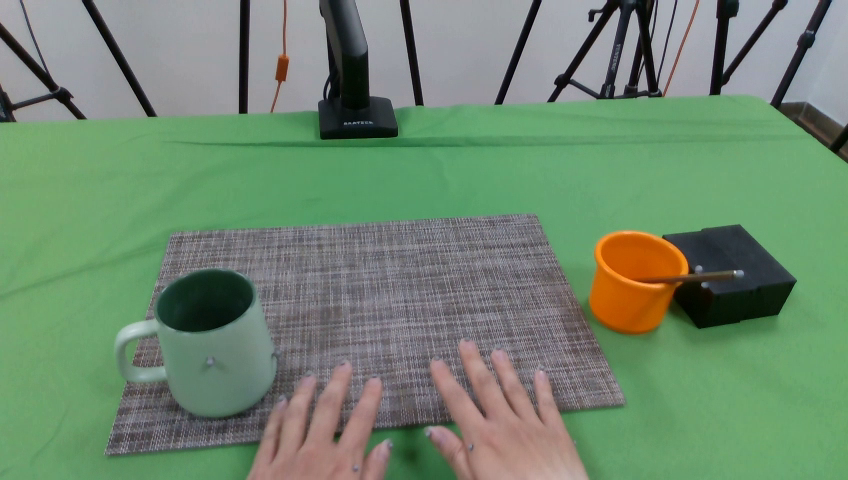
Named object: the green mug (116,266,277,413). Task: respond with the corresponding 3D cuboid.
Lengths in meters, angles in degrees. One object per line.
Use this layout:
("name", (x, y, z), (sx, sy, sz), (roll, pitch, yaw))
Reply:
("green mug", (-0.194, 0.089, 0.518), (0.125, 0.106, 0.091), (-10, 41, -16))

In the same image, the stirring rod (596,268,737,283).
("stirring rod", (0.229, 0.036, 0.593), (0.014, 0.006, 0.175), (-13, -1, -23))
